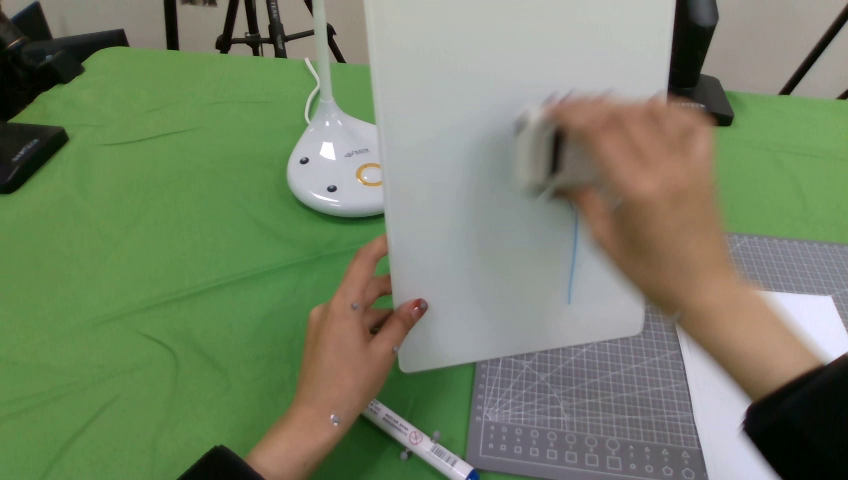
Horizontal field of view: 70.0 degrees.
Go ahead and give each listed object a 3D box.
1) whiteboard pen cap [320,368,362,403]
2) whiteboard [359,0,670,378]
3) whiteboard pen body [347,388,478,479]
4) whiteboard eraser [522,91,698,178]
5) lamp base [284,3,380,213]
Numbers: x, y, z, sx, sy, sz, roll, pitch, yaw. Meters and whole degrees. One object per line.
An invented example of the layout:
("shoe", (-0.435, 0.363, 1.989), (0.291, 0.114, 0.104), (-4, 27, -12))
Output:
("whiteboard pen cap", (-0.066, 0.116, 0.484), (0.033, 0.018, 0.018), (26, 48, 29))
("whiteboard", (0.063, -0.066, 0.514), (0.217, 0.307, 0.142), (-8, 24, -8))
("whiteboard pen body", (-0.020, 0.141, 0.457), (0.139, 0.017, 0.017), (27, 49, 27))
("whiteboard eraser", (0.123, -0.071, 0.409), (0.113, 0.056, 0.041), (-2, 25, -11))
("lamp base", (-0.087, -0.147, 0.648), (0.161, 0.182, 0.177), (-29, 48, -28))
